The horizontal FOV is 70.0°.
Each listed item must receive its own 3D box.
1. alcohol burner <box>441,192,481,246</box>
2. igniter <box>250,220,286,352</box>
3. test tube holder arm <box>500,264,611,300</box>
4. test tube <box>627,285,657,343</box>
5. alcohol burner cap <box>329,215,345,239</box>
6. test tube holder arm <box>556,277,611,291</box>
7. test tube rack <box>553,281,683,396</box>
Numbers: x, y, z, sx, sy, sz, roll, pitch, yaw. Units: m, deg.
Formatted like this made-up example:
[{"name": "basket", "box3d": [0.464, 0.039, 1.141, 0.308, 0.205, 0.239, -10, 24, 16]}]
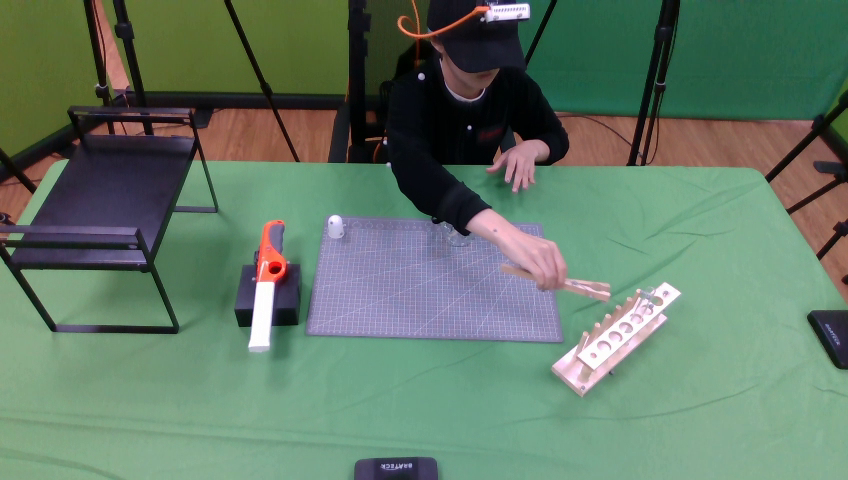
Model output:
[{"name": "alcohol burner", "box3d": [0.074, -0.046, 1.175, 0.078, 0.119, 0.077, 3, 44, -2]}, {"name": "igniter", "box3d": [-0.269, 0.068, 1.042, 0.057, 0.025, 0.274, 0, 48, -7]}, {"name": "test tube holder arm", "box3d": [0.210, 0.067, 0.977, 0.178, 0.015, 0.013, 13, 34, 11]}, {"name": "test tube", "box3d": [0.350, 0.124, 0.983, 0.017, 0.151, 0.017, 0, 49, 0]}, {"name": "alcohol burner cap", "box3d": [-0.172, -0.028, 1.192, 0.034, 0.048, 0.033, 1, 47, -1]}, {"name": "test tube holder arm", "box3d": [0.255, 0.072, 0.975, 0.088, 0.015, 0.010, 6, 34, 1]}, {"name": "test tube rack", "box3d": [0.329, 0.153, 1.023, 0.242, 0.085, 0.066, -30, 54, -28]}]
